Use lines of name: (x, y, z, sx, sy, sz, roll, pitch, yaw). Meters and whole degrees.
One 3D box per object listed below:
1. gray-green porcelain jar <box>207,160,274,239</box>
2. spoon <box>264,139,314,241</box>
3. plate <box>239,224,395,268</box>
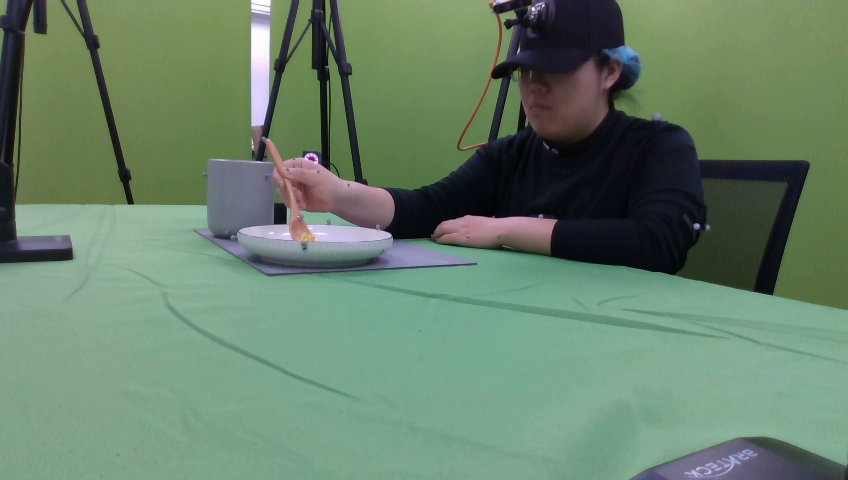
gray-green porcelain jar: (-0.304, -0.068, 1.003, 0.106, 0.126, 0.106, 3, 7, 0)
spoon: (-0.192, -0.066, 0.857, 0.021, 0.193, 0.042, -33, -22, 31)
plate: (-0.144, 0.007, 0.823, 0.208, 0.039, 0.207, 3, 7, 0)
